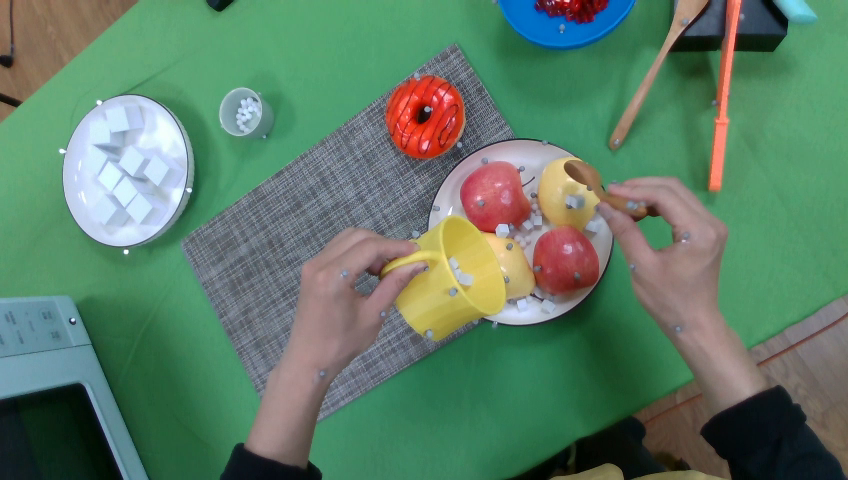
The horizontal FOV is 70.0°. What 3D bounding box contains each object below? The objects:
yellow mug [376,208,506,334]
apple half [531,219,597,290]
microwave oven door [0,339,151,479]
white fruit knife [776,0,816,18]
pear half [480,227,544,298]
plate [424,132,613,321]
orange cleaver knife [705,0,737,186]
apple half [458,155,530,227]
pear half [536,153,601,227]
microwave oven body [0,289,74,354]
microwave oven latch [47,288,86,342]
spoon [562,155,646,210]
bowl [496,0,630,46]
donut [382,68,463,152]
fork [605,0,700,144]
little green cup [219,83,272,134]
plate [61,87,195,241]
[{"bbox_3d":[0.011,0.027,0.543,0.064,0.132,0.099,-30,64,29],"label":"yellow mug"},{"bbox_3d":[0.142,0.018,0.651,0.081,0.033,0.081,7,102,36],"label":"apple half"},{"bbox_3d":[-0.425,0.294,0.702,0.039,0.245,0.354,-30,81,13],"label":"microwave oven door"},{"bbox_3d":[0.312,-0.299,0.591,0.027,0.016,0.206,-26,79,-16],"label":"white fruit knife"},{"bbox_3d":[0.086,0.033,0.670,0.109,0.056,0.076,31,101,9],"label":"pear half"},{"bbox_3d":[0.104,-0.015,0.680,0.208,0.038,0.209,0,89,15],"label":"plate"},{"bbox_3d":[0.299,-0.161,0.609,0.012,0.077,0.213,5,116,21],"label":"orange cleaver knife"},{"bbox_3d":[0.074,-0.054,0.671,0.074,0.053,0.080,-15,88,15],"label":"apple half"},{"bbox_3d":[0.152,-0.049,0.656,0.070,0.031,0.088,1,100,34],"label":"pear half"},{"bbox_3d":[-0.566,0.328,0.747,0.326,0.261,0.440,-30,82,13],"label":"microwave oven body"},{"bbox_3d":[-0.497,0.105,0.832,0.030,0.029,0.079,-28,82,13],"label":"microwave oven latch"},{"bbox_3d":[0.155,-0.049,0.528,0.042,0.192,0.021,37,105,-11],"label":"spoon"},{"bbox_3d":[0.154,-0.276,0.654,0.151,0.077,0.151,0,89,16],"label":"bowl"},{"bbox_3d":[-0.002,-0.152,0.710,0.099,0.048,0.099,0,91,18],"label":"donut"},{"bbox_3d":[0.240,-0.192,0.624,0.028,0.018,0.208,26,116,7],"label":"fork"},{"bbox_3d":[-0.228,-0.166,0.780,0.061,0.039,0.061,0,89,16],"label":"little green cup"},{"bbox_3d":[-0.398,-0.101,0.827,0.207,0.039,0.207,0,89,16],"label":"plate"}]
